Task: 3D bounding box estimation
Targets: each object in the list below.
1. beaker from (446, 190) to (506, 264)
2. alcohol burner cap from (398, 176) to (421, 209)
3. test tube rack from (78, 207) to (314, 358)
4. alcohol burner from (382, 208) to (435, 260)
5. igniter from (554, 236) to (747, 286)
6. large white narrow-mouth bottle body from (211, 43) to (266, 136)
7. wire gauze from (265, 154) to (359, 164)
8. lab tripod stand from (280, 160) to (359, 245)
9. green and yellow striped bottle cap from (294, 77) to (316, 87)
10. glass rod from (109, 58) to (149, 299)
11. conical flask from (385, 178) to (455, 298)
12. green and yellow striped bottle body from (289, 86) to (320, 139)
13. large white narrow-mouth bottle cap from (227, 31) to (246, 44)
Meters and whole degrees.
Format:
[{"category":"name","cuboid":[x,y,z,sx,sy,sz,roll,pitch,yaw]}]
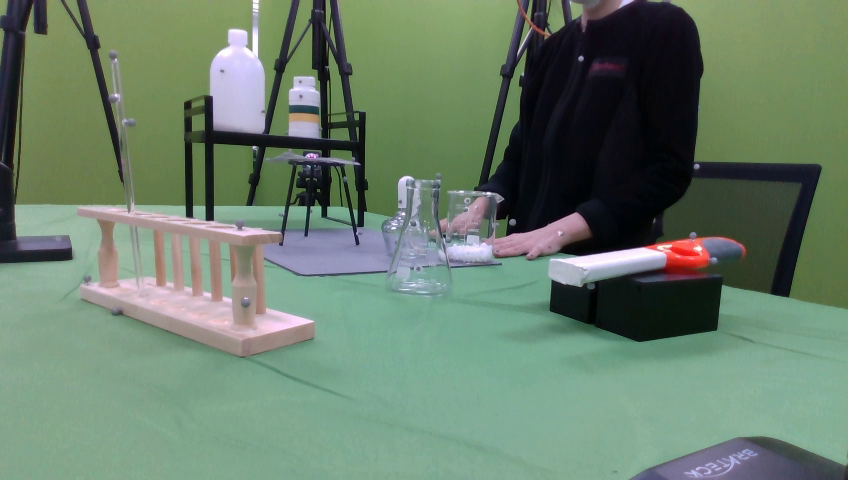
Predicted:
[{"category":"beaker","cuboid":[0.071,-0.019,0.855,0.084,0.100,0.074,3,8,-1]},{"category":"alcohol burner cap","cuboid":[-0.023,-0.068,0.866,0.034,0.048,0.034,-5,8,1]},{"category":"test tube rack","cuboid":[-0.196,0.023,0.499,0.241,0.085,0.067,8,8,37]},{"category":"alcohol burner","cuboid":[-0.023,-0.032,0.872,0.078,0.119,0.078,1,6,0]},{"category":"igniter","cuboid":[0.221,0.017,0.558,0.278,0.025,0.057,-5,14,-39]},{"category":"large white narrow-mouth bottle body","cuboid":[-0.361,-0.302,1.176,0.102,0.194,0.102,1,7,0]},{"category":"wire gauze","cuboid":[-0.181,-0.129,0.969,0.126,0.011,0.121,-1,7,-27]},{"category":"lab tripod stand","cuboid":[-0.176,-0.062,0.973,0.148,0.131,0.148,1,7,0]},{"category":"green and yellow striped bottle cap","cuboid":[-0.247,-0.326,1.251,0.045,0.020,0.045,0,10,0]},{"category":"glass rod","cuboid":[-0.239,-0.044,0.492,0.008,0.199,0.008,-1,15,0]},{"category":"conical flask","cuboid":[-0.002,-0.004,0.639,0.075,0.122,0.075,2,7,0]},{"category":"green and yellow striped bottle body","cuboid":[-0.249,-0.272,1.259,0.063,0.119,0.063,2,8,0]},{"category":"large white narrow-mouth bottle cap","cuboid":[-0.361,-0.388,1.166,0.038,0.024,0.037,1,7,0]}]
